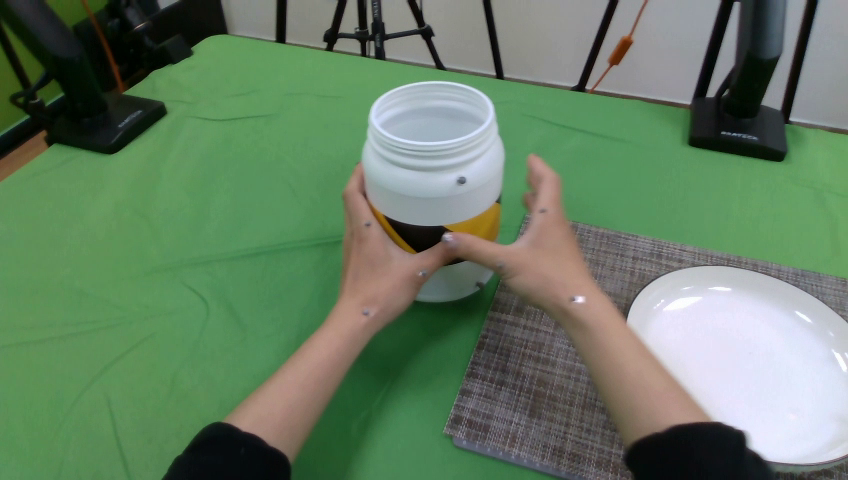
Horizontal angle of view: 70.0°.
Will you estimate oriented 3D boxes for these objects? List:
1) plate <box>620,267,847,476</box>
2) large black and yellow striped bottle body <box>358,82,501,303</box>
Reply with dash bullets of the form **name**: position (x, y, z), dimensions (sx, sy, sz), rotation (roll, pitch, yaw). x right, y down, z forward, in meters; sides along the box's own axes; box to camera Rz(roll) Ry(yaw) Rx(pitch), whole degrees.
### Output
- **plate**: position (0.273, 0.108, 0.521), dimensions (0.208, 0.039, 0.205), rotation (0, 42, 1)
- **large black and yellow striped bottle body**: position (0.007, -0.044, 0.583), dimensions (0.131, 0.185, 0.129), rotation (-1, 42, 1)
